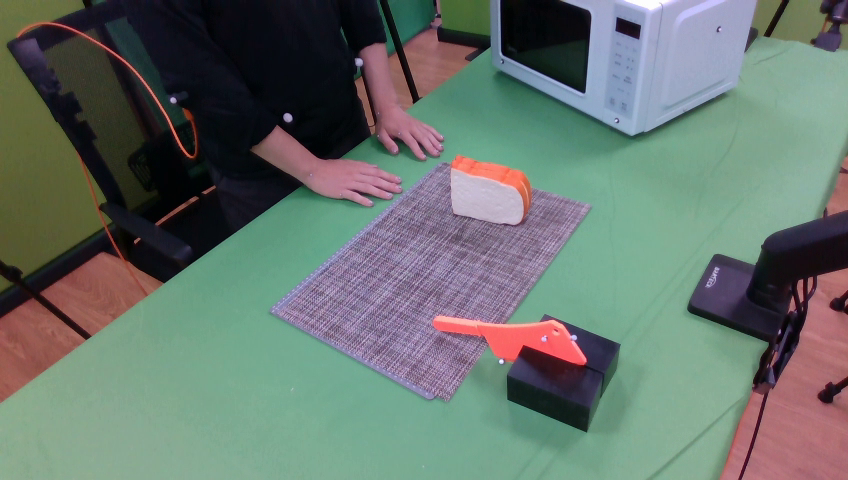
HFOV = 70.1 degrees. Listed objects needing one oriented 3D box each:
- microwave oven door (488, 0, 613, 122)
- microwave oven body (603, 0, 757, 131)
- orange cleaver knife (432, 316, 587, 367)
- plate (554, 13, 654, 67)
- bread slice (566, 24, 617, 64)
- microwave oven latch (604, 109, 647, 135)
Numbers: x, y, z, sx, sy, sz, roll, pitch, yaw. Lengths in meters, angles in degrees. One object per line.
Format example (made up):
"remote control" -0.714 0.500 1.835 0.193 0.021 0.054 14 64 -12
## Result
"microwave oven door" 0.250 -0.412 1.219 0.039 0.245 0.352 -27 44 -21
"microwave oven body" 0.396 -0.448 1.248 0.327 0.261 0.437 -27 44 -21
"orange cleaver knife" 0.101 0.127 0.761 0.210 0.077 0.012 -1 34 40
"plate" 0.386 -0.428 1.308 0.207 0.039 0.206 -4 44 4
"bread slice" 0.362 -0.428 1.323 0.107 0.018 0.134 1 52 8
"microwave oven latch" 0.378 -0.225 1.139 0.030 0.029 0.078 -26 43 -20
